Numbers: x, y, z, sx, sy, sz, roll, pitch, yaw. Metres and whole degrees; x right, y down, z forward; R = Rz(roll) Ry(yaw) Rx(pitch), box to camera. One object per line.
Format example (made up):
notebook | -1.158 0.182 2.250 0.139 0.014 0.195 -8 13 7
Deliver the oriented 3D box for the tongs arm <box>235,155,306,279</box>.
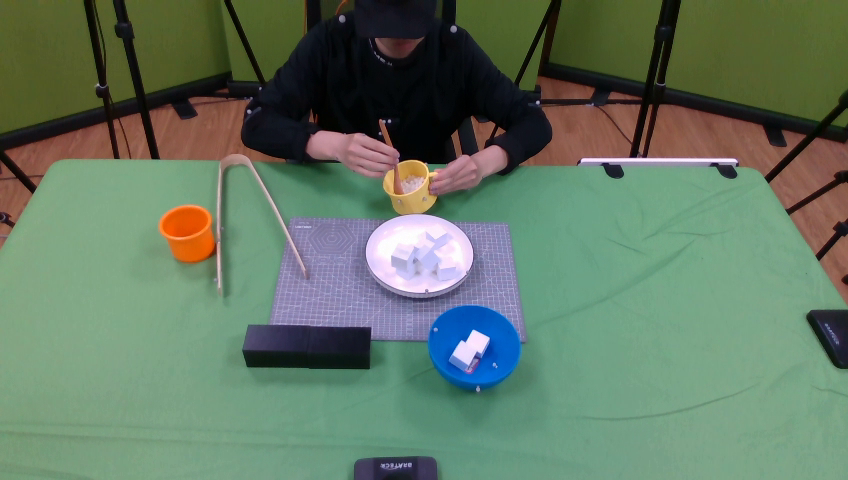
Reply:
tongs arm | -0.312 -0.058 1.224 0.028 0.028 0.385 -22 50 -19

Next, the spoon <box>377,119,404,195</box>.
spoon | -0.061 -0.150 1.193 0.021 0.195 0.041 -25 33 -20

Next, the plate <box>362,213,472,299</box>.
plate | -0.013 0.034 1.150 0.208 0.039 0.206 2 46 -2

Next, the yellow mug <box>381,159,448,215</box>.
yellow mug | -0.016 -0.112 1.246 0.131 0.064 0.099 -12 51 11

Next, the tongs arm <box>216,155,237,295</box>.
tongs arm | -0.388 -0.043 1.201 0.051 0.026 0.382 -9 46 -12

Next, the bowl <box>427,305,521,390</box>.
bowl | 0.076 0.188 0.985 0.151 0.077 0.150 3 46 -3
